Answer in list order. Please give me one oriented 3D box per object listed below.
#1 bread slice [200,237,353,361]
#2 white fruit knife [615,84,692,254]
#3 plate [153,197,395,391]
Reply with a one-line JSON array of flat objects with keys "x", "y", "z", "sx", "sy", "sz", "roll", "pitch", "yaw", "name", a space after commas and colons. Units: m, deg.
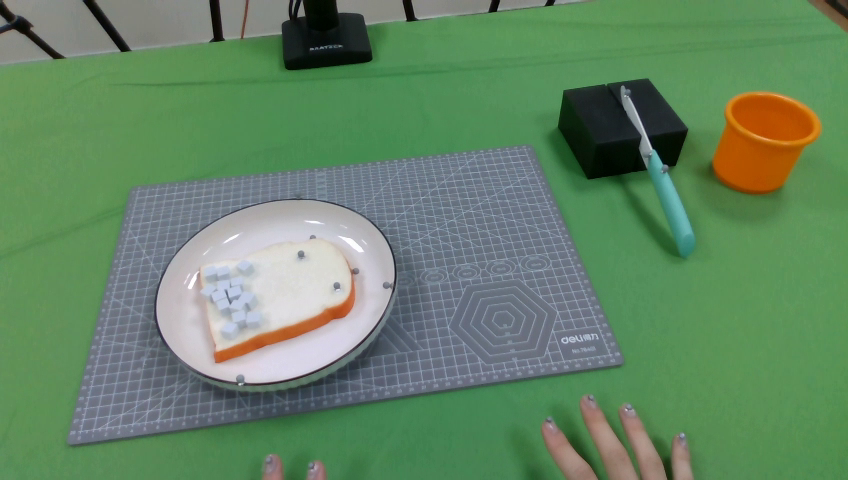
[{"x": -0.132, "y": 0.043, "z": 0.546, "sx": 0.132, "sy": 0.019, "sz": 0.103, "roll": -19, "pitch": 51, "yaw": -14, "name": "bread slice"}, {"x": 0.231, "y": -0.082, "z": 0.623, "sx": 0.016, "sy": 0.027, "sz": 0.205, "roll": -8, "pitch": 63, "yaw": -7, "name": "white fruit knife"}, {"x": -0.129, "y": 0.045, "z": 0.540, "sx": 0.209, "sy": 0.038, "sz": 0.207, "roll": 0, "pitch": 48, "yaw": 1, "name": "plate"}]
